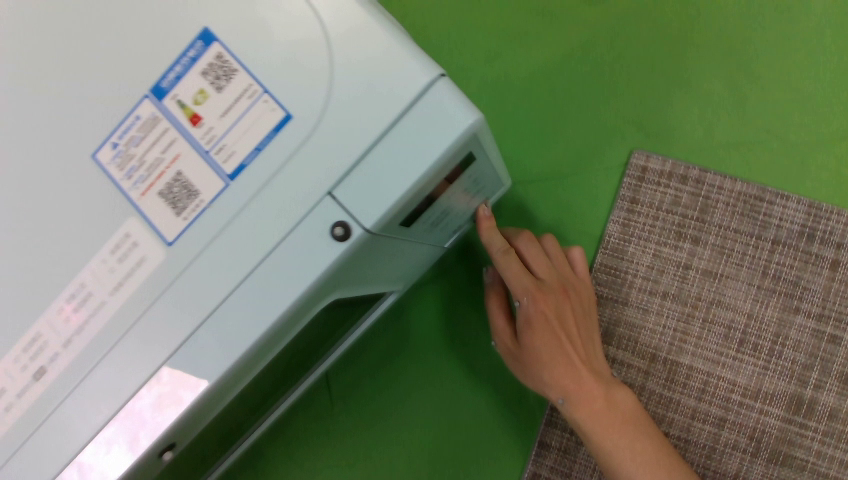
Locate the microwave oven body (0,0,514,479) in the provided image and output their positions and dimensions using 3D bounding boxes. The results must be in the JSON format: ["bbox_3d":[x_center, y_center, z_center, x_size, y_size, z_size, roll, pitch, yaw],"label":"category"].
[{"bbox_3d":[-0.205,-0.018,0.451,0.442,0.261,0.325,-45,81,7],"label":"microwave oven body"}]

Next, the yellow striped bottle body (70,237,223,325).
[{"bbox_3d":[-0.207,0.030,0.457,0.063,0.120,0.062,0,87,7],"label":"yellow striped bottle body"}]

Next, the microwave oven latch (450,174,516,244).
[{"bbox_3d":[0.041,-0.033,0.501,0.079,0.029,0.030,-43,81,8],"label":"microwave oven latch"}]

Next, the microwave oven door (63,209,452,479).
[{"bbox_3d":[-0.136,0.115,0.428,0.356,0.244,0.039,-45,79,7],"label":"microwave oven door"}]
